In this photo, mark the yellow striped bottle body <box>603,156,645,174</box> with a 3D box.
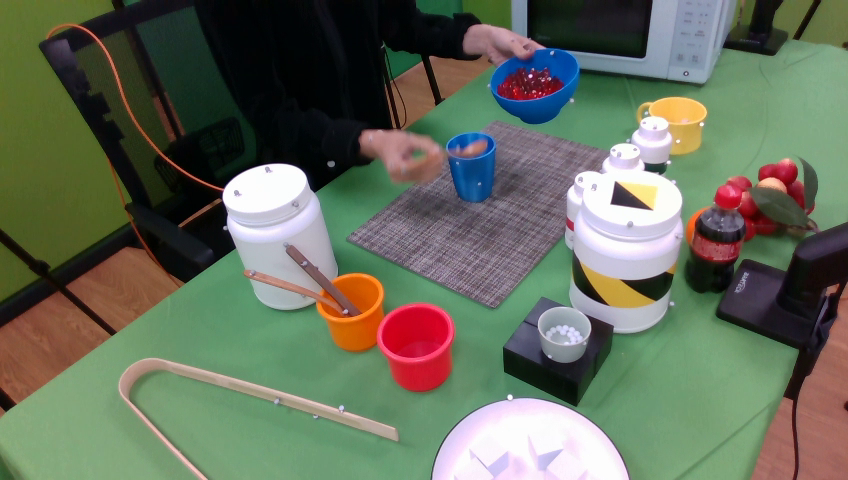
[{"bbox_3d":[0.313,-0.089,0.956,0.063,0.121,0.062,-4,39,4],"label":"yellow striped bottle body"}]

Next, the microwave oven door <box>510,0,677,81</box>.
[{"bbox_3d":[0.354,-0.478,1.290,0.353,0.245,0.039,15,45,25],"label":"microwave oven door"}]

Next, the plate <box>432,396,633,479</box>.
[{"bbox_3d":[0.112,0.261,0.634,0.209,0.038,0.208,-5,40,4],"label":"plate"}]

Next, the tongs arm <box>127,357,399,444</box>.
[{"bbox_3d":[-0.213,0.205,0.755,0.382,0.026,0.051,12,46,23],"label":"tongs arm"}]

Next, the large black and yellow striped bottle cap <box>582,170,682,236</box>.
[{"bbox_3d":[0.252,-0.048,0.735,0.115,0.019,0.114,-3,40,3],"label":"large black and yellow striped bottle cap"}]

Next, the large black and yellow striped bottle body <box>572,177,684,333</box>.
[{"bbox_3d":[0.262,0.017,0.788,0.131,0.185,0.130,-5,40,4],"label":"large black and yellow striped bottle body"}]

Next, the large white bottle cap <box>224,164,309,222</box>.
[{"bbox_3d":[-0.215,-0.066,0.829,0.115,0.018,0.114,-4,40,4],"label":"large white bottle cap"}]

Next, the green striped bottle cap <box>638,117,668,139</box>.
[{"bbox_3d":[0.369,-0.180,0.974,0.044,0.020,0.044,-4,41,4],"label":"green striped bottle cap"}]

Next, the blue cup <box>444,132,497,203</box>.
[{"bbox_3d":[0.083,-0.120,1.039,0.092,0.100,0.092,-3,41,4],"label":"blue cup"}]

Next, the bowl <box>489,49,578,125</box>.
[{"bbox_3d":[0.192,-0.251,1.035,0.151,0.077,0.150,-11,46,12],"label":"bowl"}]

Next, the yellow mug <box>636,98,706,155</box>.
[{"bbox_3d":[0.453,-0.217,1.128,0.100,0.064,0.129,-34,46,-27],"label":"yellow mug"}]

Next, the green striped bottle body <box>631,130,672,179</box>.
[{"bbox_3d":[0.375,-0.140,1.007,0.063,0.120,0.063,-5,40,5],"label":"green striped bottle body"}]

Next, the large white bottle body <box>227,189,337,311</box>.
[{"bbox_3d":[-0.207,-0.002,0.883,0.130,0.185,0.130,-4,40,4],"label":"large white bottle body"}]

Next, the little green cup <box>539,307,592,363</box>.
[{"bbox_3d":[0.168,0.115,0.721,0.061,0.039,0.061,-4,42,4],"label":"little green cup"}]

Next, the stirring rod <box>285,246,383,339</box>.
[{"bbox_3d":[-0.121,0.071,0.819,0.176,0.006,0.014,44,52,-6],"label":"stirring rod"}]

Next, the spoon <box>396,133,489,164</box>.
[{"bbox_3d":[0.027,-0.130,0.851,0.041,0.021,0.195,-2,11,44],"label":"spoon"}]

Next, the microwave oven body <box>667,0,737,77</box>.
[{"bbox_3d":[0.462,-0.552,1.368,0.439,0.261,0.326,15,45,26],"label":"microwave oven body"}]

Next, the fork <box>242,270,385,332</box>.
[{"bbox_3d":[-0.142,0.082,0.802,0.209,0.018,0.028,28,38,-26],"label":"fork"}]

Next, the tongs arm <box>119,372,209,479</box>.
[{"bbox_3d":[-0.258,0.257,0.700,0.384,0.028,0.028,24,55,34],"label":"tongs arm"}]

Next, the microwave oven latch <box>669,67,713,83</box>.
[{"bbox_3d":[0.556,-0.349,1.261,0.078,0.029,0.030,16,46,27],"label":"microwave oven latch"}]

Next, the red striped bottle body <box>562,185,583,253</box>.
[{"bbox_3d":[0.246,-0.040,0.910,0.063,0.120,0.062,-1,39,1],"label":"red striped bottle body"}]

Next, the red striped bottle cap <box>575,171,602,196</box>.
[{"bbox_3d":[0.242,-0.081,0.876,0.044,0.018,0.044,-5,43,5],"label":"red striped bottle cap"}]

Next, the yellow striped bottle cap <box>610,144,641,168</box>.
[{"bbox_3d":[0.307,-0.128,0.923,0.044,0.019,0.044,-6,39,5],"label":"yellow striped bottle cap"}]
